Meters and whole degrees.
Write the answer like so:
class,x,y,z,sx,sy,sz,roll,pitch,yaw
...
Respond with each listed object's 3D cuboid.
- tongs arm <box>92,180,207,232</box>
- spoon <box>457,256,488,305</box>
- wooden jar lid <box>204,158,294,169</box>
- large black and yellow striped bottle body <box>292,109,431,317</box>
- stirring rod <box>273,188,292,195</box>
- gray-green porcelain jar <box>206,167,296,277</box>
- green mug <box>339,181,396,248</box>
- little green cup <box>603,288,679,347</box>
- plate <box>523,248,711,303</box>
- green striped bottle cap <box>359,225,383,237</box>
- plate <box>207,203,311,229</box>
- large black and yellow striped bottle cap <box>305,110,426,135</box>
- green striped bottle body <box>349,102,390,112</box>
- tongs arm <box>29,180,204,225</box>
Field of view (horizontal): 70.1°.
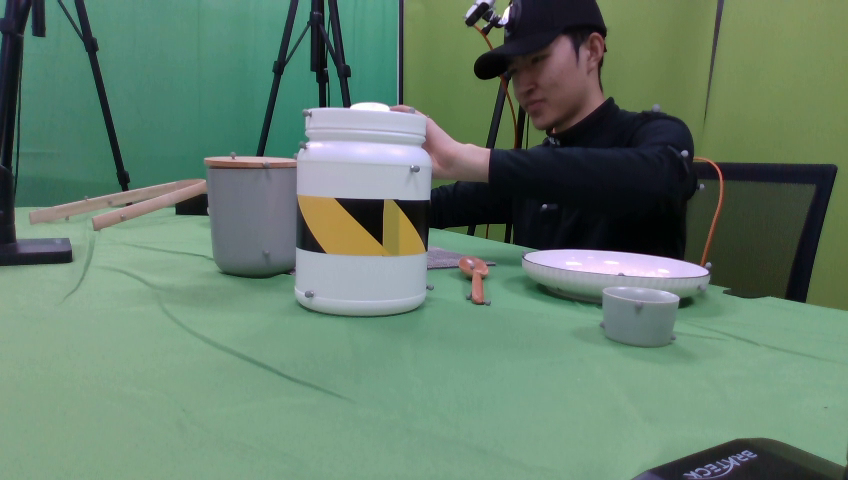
class,x,y,z,sx,sy,sz,roll,pitch,yaw
tongs arm,-0.534,-0.076,1.222,0.028,0.028,0.388,-2,15,12
spoon,0.059,0.044,0.696,0.041,0.021,0.193,22,7,0
wooden jar lid,-0.202,-0.086,0.714,0.108,0.020,0.108,3,11,0
large black and yellow striped bottle body,-0.060,-0.028,0.585,0.131,0.184,0.130,3,7,0
stirring rod,-0.354,-0.122,1.519,0.006,0.014,0.176,2,6,1
gray-green porcelain jar,-0.201,-0.024,0.724,0.106,0.126,0.106,-1,9,1
green mug,-0.097,-0.044,0.995,0.093,0.105,0.125,-1,8,-21
little green cup,0.180,0.064,0.505,0.061,0.038,0.061,2,7,0
plate,0.219,0.041,0.706,0.209,0.038,0.209,2,7,0
green striped bottle cap,-0.101,-0.017,1.138,0.044,0.020,0.044,-3,8,1
plate,-0.342,-0.050,1.259,0.208,0.039,0.207,2,7,0
large black and yellow striped bottle cap,-0.055,-0.110,0.574,0.115,0.019,0.115,1,7,0
green striped bottle body,-0.083,-0.147,0.934,0.063,0.119,0.063,1,28,0
tongs arm,-0.609,-0.083,1.245,0.050,0.026,0.386,5,16,23
